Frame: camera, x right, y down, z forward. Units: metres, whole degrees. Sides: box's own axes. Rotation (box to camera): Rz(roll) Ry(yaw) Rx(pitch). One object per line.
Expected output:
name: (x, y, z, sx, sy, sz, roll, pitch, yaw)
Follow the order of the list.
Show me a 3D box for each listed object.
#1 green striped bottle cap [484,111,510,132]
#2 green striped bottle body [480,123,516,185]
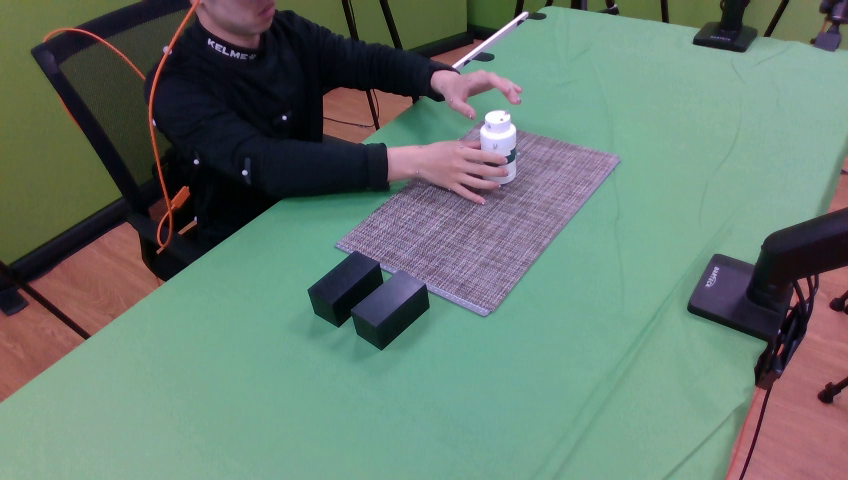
green striped bottle cap: (0.124, -0.201, 1.024, 0.044, 0.020, 0.044, -3, 40, 3)
green striped bottle body: (0.130, -0.162, 1.057, 0.063, 0.120, 0.063, -4, 40, 4)
